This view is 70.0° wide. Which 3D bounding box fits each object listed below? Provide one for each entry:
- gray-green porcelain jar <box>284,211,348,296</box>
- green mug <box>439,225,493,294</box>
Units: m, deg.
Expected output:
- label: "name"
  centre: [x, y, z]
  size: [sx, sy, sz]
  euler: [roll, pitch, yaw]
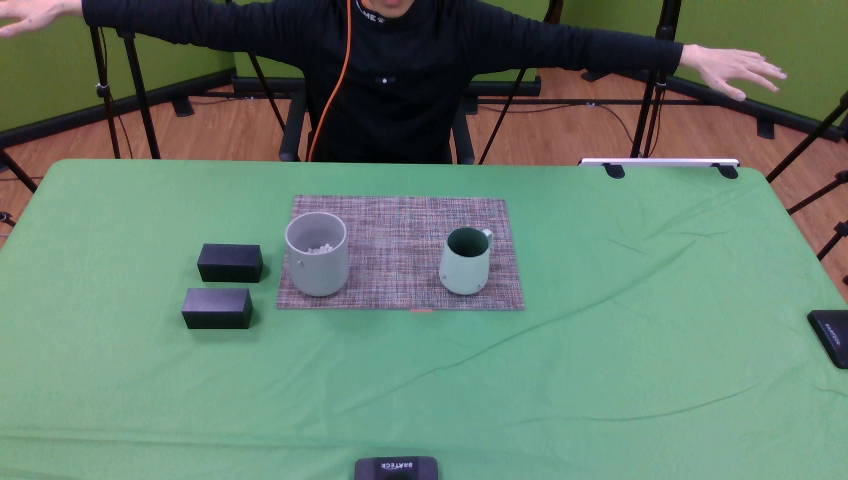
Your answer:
- label: "gray-green porcelain jar"
  centre: [-0.188, 0.029, 1.077]
  size: [0.106, 0.127, 0.105]
  euler: [2, 47, -2]
- label: "green mug"
  centre: [0.086, 0.028, 1.113]
  size: [0.092, 0.105, 0.125]
  euler: [31, 52, 24]
